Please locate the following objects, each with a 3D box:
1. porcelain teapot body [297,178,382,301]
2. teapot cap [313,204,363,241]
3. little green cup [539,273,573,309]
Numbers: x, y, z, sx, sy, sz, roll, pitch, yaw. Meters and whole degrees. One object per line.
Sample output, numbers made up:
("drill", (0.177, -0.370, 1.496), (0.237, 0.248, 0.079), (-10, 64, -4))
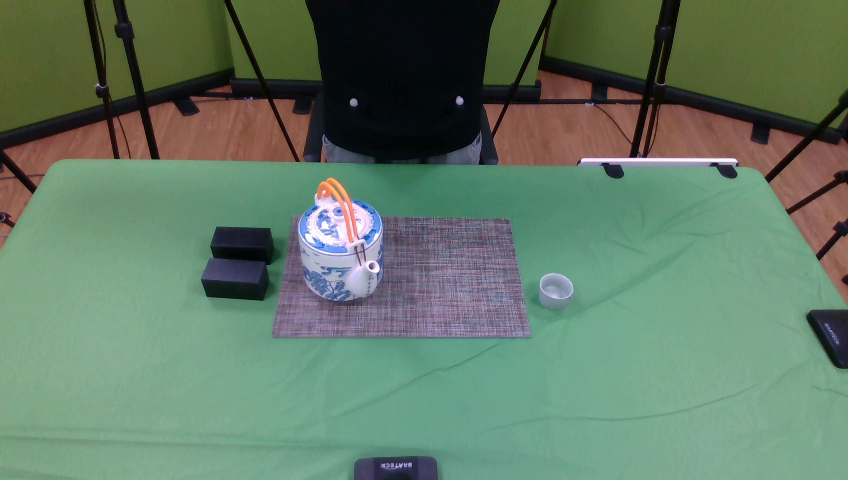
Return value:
("porcelain teapot body", (-0.129, 0.011, 1.032), (0.145, 0.226, 0.204), (-24, 53, -25))
("teapot cap", (-0.144, -0.034, 1.020), (0.085, 0.044, 0.084), (2, 49, -2))
("little green cup", (0.240, 0.096, 1.113), (0.061, 0.039, 0.061), (2, 47, -2))
